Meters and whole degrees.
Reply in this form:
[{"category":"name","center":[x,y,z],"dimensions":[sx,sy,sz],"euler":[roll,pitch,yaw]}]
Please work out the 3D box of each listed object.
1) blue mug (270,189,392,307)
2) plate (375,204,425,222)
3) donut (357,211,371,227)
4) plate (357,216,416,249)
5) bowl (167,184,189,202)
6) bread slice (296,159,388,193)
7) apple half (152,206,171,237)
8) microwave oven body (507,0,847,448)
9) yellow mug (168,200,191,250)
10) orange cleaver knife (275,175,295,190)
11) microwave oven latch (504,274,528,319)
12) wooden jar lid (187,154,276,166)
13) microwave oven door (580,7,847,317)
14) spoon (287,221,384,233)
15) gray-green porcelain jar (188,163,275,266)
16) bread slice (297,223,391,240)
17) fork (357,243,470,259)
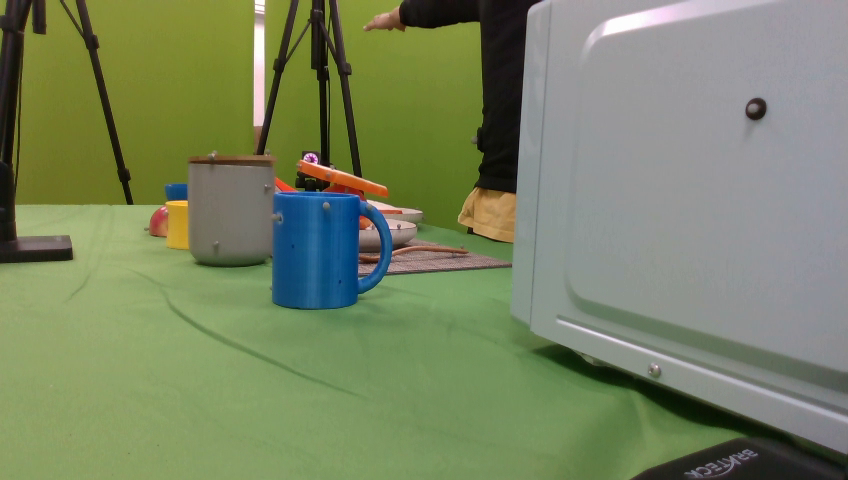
[{"category":"blue mug","center":[-0.090,0.005,0.588],"dimensions":[0.117,0.106,0.082],"euler":[1,7,-11]},{"category":"plate","center":[-0.102,-0.053,1.299],"dimensions":[0.209,0.038,0.209],"euler":[2,8,0]},{"category":"donut","center":[-0.129,-0.041,0.956],"dimensions":[0.099,0.048,0.099],"euler":[2,7,0]},{"category":"plate","center":[-0.116,-0.014,0.967],"dimensions":[0.208,0.039,0.207],"euler":[2,7,0]},{"category":"bowl","center":[-0.408,-0.064,1.154],"dimensions":[0.151,0.077,0.151],"euler":[2,8,0]},{"category":"bread slice","center":[-0.132,-0.102,0.952],"dimensions":[0.132,0.019,0.104],"euler":[12,6,-36]},{"category":"apple half","center":[-0.415,-0.034,1.017],"dimensions":[0.081,0.053,0.074],"euler":[1,10,-9]},{"category":"microwave oven body","center":[0.331,-0.042,0.425],"dimensions":[0.444,0.260,0.324],"euler":[-2,8,-31]},{"category":"yellow mug","center":[-0.320,-0.023,0.904],"dimensions":[0.130,0.064,0.100],"euler":[8,10,36]},{"category":"orange cleaver knife","center":[-0.283,-0.087,1.343],"dimensions":[0.212,0.077,0.012],"euler":[23,-15,-41]},{"category":"microwave oven latch","center":[0.100,0.041,0.471],"dimensions":[0.079,0.029,0.030],"euler":[-1,7,-27]},{"category":"wooden jar lid","center":[-0.244,-0.097,0.771],"dimensions":[0.108,0.020,0.108],"euler":[-1,7,0]},{"category":"microwave oven door","center":[0.294,-0.067,0.570],"dimensions":[0.358,0.243,0.039],"euler":[-3,9,-31]},{"category":"spoon","center":[-0.157,-0.027,1.110],"dimensions":[0.195,0.021,0.041],"euler":[-4,-14,-35]},{"category":"gray-green porcelain jar","center":[-0.246,-0.034,0.780],"dimensions":[0.106,0.126,0.106],"euler":[1,7,0]},{"category":"bread slice","center":[-0.121,-0.015,0.970],"dimensions":[0.106,0.018,0.135],"euler":[9,9,40]},{"category":"fork","center":[-0.017,0.014,0.845],"dimensions":[0.208,0.018,0.028],"euler":[-5,-1,-36]}]
